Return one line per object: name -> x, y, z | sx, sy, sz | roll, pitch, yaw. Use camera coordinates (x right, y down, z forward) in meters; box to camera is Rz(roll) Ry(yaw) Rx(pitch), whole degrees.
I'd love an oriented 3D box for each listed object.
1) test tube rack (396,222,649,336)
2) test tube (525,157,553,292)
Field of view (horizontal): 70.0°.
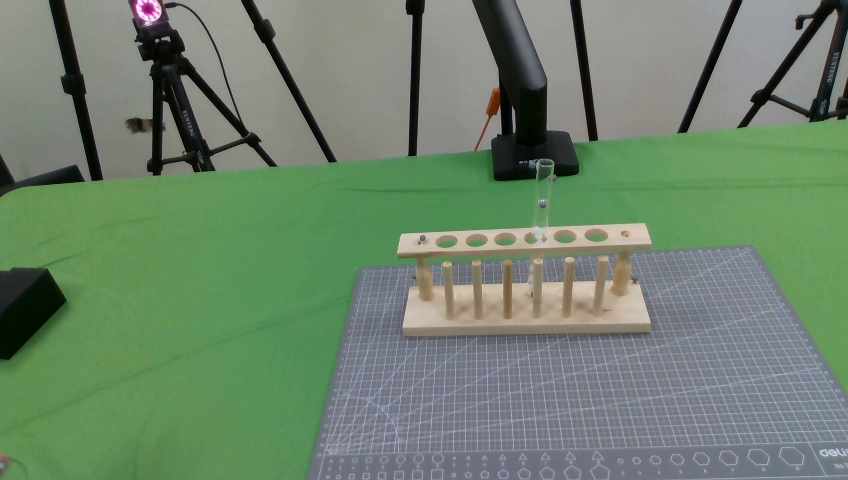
test tube rack -> 0.096, 0.040, 0.605 | 0.242, 0.086, 0.066 | -2, 36, 8
test tube -> 0.111, -0.010, 0.587 | 0.017, 0.151, 0.017 | -1, 34, 1
